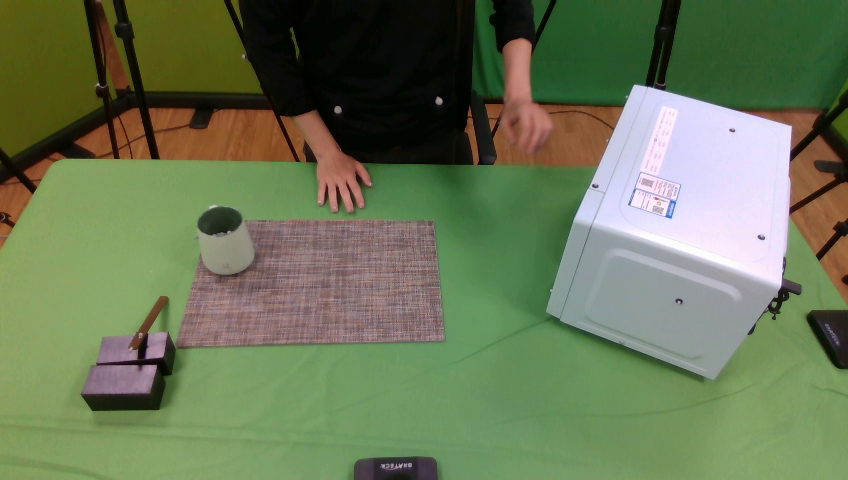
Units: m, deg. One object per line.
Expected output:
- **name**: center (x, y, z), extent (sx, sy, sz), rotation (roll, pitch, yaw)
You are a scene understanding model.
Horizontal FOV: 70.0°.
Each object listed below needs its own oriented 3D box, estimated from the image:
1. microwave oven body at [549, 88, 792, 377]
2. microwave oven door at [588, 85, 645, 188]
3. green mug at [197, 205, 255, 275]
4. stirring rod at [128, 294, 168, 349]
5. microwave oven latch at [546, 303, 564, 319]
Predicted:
- **microwave oven body**: center (0.456, -0.028, 1.088), extent (0.325, 0.261, 0.440), rotation (20, 47, 16)
- **microwave oven door**: center (0.342, -0.107, 1.149), extent (0.039, 0.245, 0.354), rotation (20, 48, 15)
- **green mug**: center (-0.370, -0.008, 1.114), extent (0.092, 0.105, 0.124), rotation (-19, 50, -20)
- **stirring rod**: center (-0.451, 0.131, 0.996), extent (0.014, 0.006, 0.175), rotation (9, 21, -10)
- **microwave oven latch**: center (0.242, 0.102, 1.081), extent (0.030, 0.029, 0.079), rotation (21, 48, 17)
